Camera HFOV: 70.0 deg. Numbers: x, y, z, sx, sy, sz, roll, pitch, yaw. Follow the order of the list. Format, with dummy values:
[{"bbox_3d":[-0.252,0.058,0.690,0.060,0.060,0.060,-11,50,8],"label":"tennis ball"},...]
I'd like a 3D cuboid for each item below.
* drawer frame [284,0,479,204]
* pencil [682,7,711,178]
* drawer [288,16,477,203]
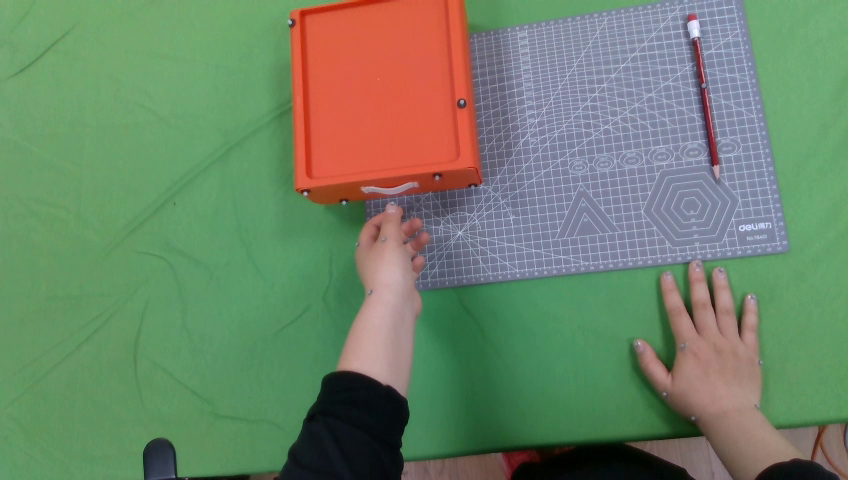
[{"bbox_3d":[-0.049,-0.159,0.684,0.201,0.083,0.212,-7,79,10],"label":"drawer frame"},{"bbox_3d":[0.300,-0.162,0.664,0.012,0.012,0.193,-5,83,9],"label":"pencil"},{"bbox_3d":[-0.048,-0.157,0.685,0.194,0.073,0.211,-7,79,9],"label":"drawer"}]
